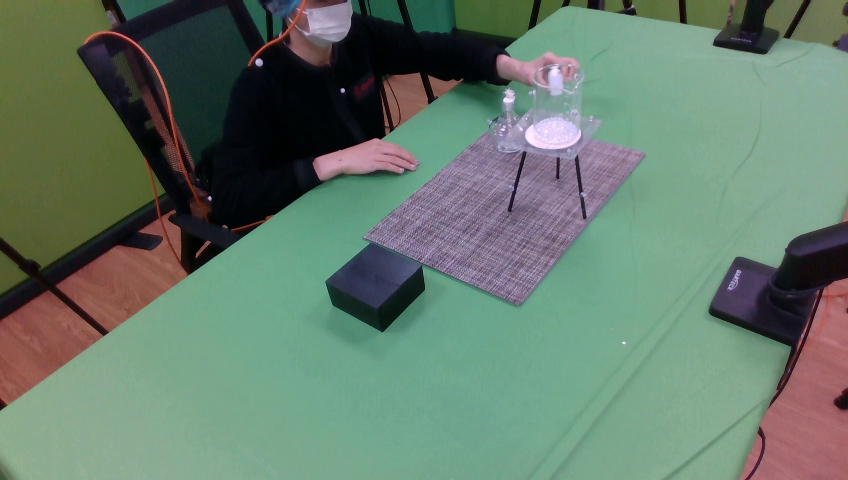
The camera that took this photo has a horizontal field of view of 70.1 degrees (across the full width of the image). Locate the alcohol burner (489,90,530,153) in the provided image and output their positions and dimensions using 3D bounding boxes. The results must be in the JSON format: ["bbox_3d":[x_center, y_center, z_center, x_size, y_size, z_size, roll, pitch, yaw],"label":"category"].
[{"bbox_3d":[0.160,-0.226,1.136,0.078,0.119,0.077,-6,41,5],"label":"alcohol burner"}]

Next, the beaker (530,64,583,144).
[{"bbox_3d":[0.201,-0.201,0.909,0.074,0.101,0.083,-19,43,-10],"label":"beaker"}]

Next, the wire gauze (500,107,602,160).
[{"bbox_3d":[0.199,-0.166,0.945,0.120,0.011,0.125,17,50,28],"label":"wire gauze"}]

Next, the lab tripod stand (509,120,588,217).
[{"bbox_3d":[0.208,-0.114,0.983,0.148,0.132,0.147,-5,42,5],"label":"lab tripod stand"}]

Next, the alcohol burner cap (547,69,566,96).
[{"bbox_3d":[0.249,-0.300,1.144,0.034,0.048,0.033,-14,30,9],"label":"alcohol burner cap"}]
